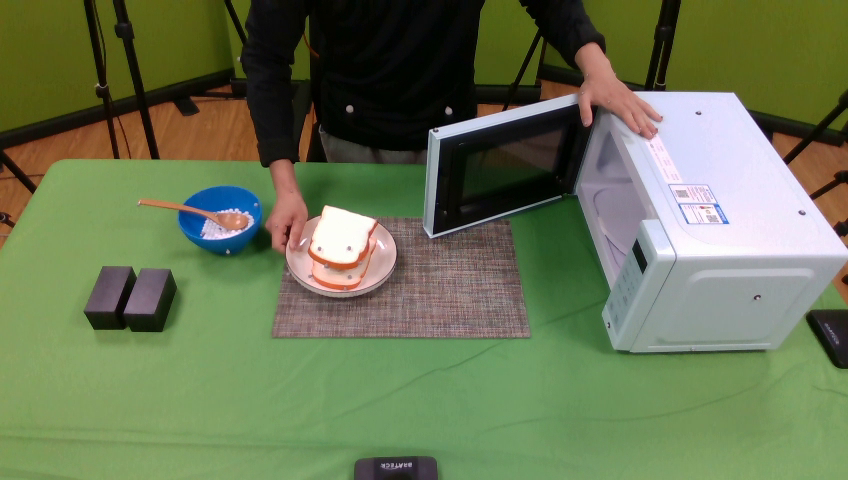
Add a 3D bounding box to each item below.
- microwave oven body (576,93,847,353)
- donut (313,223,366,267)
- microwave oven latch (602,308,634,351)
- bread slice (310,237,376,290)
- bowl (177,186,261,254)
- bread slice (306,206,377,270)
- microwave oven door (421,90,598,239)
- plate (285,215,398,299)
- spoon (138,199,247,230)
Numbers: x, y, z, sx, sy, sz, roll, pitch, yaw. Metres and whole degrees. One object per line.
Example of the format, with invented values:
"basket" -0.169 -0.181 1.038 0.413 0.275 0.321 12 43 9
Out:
"microwave oven body" 0.475 -0.041 1.109 0.326 0.261 0.438 -1 45 -4
"donut" -0.156 0.010 1.118 0.099 0.048 0.098 3 46 -3
"microwave oven latch" 0.332 0.153 1.044 0.030 0.029 0.078 -1 45 -4
"bread slice" -0.153 0.037 1.133 0.107 0.018 0.133 8 46 1
"bowl" -0.383 -0.026 1.158 0.151 0.077 0.150 2 46 -2
"bread slice" -0.150 -0.003 1.092 0.105 0.019 0.131 16 48 -1
"microwave oven door" 0.166 -0.147 1.182 0.356 0.245 0.039 -18 50 -20
"plate" -0.153 0.033 1.138 0.208 0.039 0.206 4 45 -4
"spoon" -0.431 -0.053 1.136 0.194 0.022 0.041 15 48 -20
